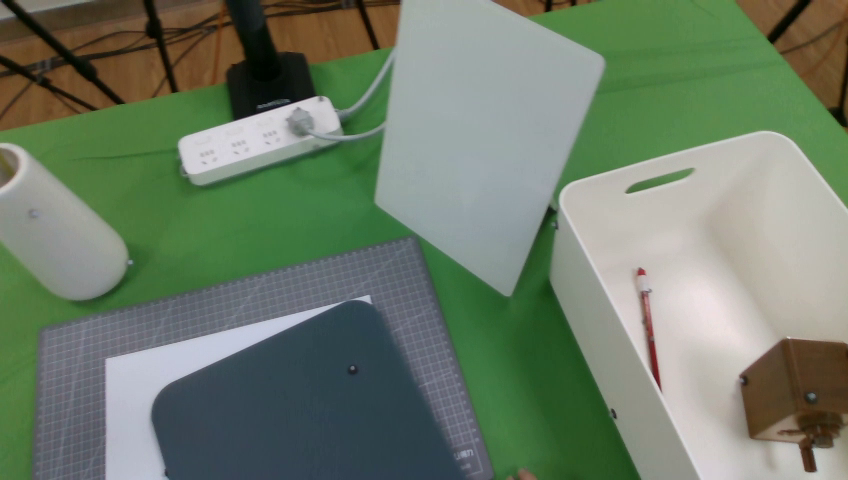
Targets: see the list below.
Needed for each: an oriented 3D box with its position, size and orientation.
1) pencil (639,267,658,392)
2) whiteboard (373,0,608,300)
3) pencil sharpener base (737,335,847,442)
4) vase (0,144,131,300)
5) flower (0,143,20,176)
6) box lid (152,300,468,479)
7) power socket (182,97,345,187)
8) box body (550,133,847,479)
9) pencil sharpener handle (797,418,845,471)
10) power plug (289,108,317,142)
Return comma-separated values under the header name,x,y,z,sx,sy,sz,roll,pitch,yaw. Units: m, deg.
name,x,y,z,sx,sy,sz,roll,pitch,yaw
pencil,0.246,0.117,0.658,0.012,0.012,0.192,3,62,5
whiteboard,0.086,-0.125,0.680,0.215,0.307,0.144,36,47,22
pencil sharpener base,0.355,0.147,0.577,0.061,0.108,0.076,5,59,4
vase,-0.403,-0.014,0.654,0.098,0.202,0.097,-2,58,3
flower,-0.404,-0.074,0.594,0.038,0.365,0.043,-25,43,-20
box lid,-0.097,0.249,0.593,0.263,0.015,0.368,-25,62,-13
power socket,-0.215,-0.134,0.819,0.227,0.033,0.071,-19,61,-10
box body,0.300,0.102,0.581,0.254,0.162,0.360,-15,59,-7
pencil sharpener handle,0.352,0.184,0.540,0.036,0.068,0.030,-2,58,14
power plug,-0.157,-0.140,0.793,0.035,0.053,0.072,-11,60,-4
